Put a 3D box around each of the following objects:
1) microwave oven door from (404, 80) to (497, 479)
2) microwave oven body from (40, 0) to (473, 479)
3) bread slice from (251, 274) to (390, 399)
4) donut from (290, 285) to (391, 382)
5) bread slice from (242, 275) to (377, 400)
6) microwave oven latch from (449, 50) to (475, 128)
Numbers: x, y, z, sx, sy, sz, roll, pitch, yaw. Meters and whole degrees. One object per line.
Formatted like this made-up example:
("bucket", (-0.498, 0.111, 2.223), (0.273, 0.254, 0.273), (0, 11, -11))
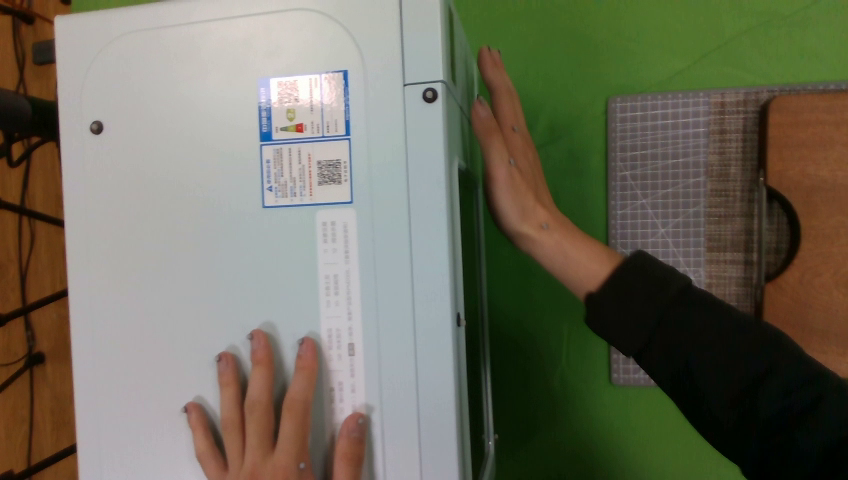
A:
("microwave oven door", (0.027, 0.066, 0.526), (0.039, 0.244, 0.355), (-3, 91, 11))
("microwave oven body", (-0.118, 0.031, 0.556), (0.325, 0.260, 0.441), (-3, 92, 10))
("bread slice", (-0.110, 0.094, 0.611), (0.131, 0.019, 0.105), (17, 97, 6))
("donut", (-0.081, 0.090, 0.583), (0.099, 0.048, 0.099), (0, 107, 0))
("bread slice", (-0.104, 0.090, 0.541), (0.134, 0.018, 0.107), (-7, 92, 23))
("microwave oven latch", (0.037, -0.154, 0.619), (0.030, 0.029, 0.079), (-2, 92, 10))
